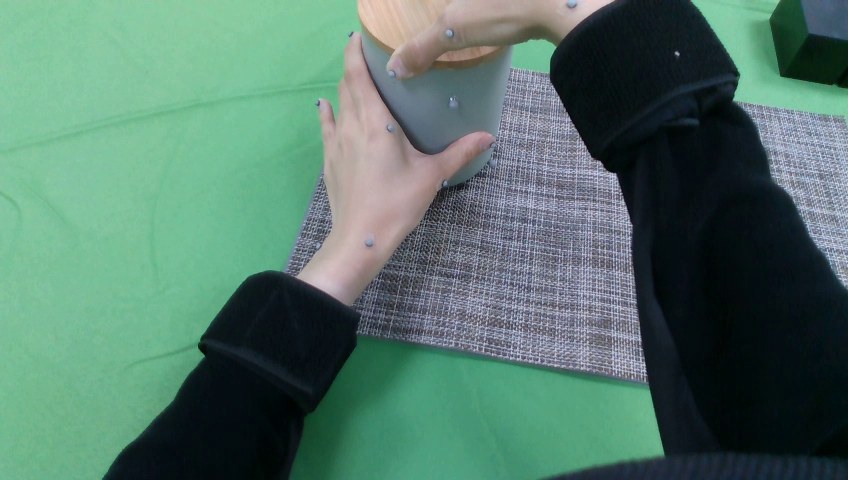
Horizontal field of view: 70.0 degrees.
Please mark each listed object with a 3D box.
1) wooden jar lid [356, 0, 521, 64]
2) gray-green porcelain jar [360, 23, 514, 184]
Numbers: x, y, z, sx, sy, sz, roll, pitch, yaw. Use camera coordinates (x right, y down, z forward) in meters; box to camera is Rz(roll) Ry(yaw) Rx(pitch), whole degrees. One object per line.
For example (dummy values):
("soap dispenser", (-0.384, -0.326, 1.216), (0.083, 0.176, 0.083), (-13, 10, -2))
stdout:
("wooden jar lid", (0.009, -0.150, 0.401), (0.108, 0.021, 0.107), (2, 57, -2))
("gray-green porcelain jar", (0.006, -0.113, 0.452), (0.106, 0.127, 0.105), (2, 54, -2))
